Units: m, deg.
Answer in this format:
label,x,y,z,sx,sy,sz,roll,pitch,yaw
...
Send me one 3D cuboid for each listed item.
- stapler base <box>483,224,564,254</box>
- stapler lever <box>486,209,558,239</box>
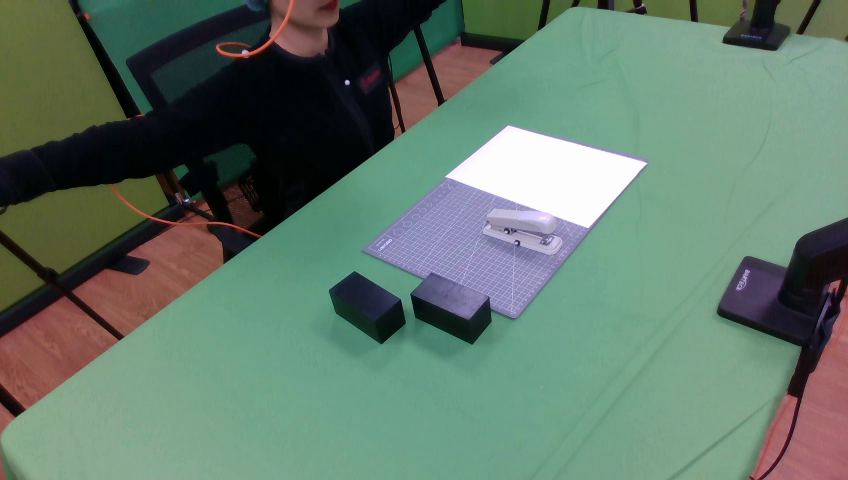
label,x,y,z,sx,sy,sz,roll,pitch,yaw
stapler base,0.158,-0.012,0.962,0.129,0.024,0.041,17,45,31
stapler lever,0.153,-0.032,0.947,0.117,0.040,0.027,17,45,31
